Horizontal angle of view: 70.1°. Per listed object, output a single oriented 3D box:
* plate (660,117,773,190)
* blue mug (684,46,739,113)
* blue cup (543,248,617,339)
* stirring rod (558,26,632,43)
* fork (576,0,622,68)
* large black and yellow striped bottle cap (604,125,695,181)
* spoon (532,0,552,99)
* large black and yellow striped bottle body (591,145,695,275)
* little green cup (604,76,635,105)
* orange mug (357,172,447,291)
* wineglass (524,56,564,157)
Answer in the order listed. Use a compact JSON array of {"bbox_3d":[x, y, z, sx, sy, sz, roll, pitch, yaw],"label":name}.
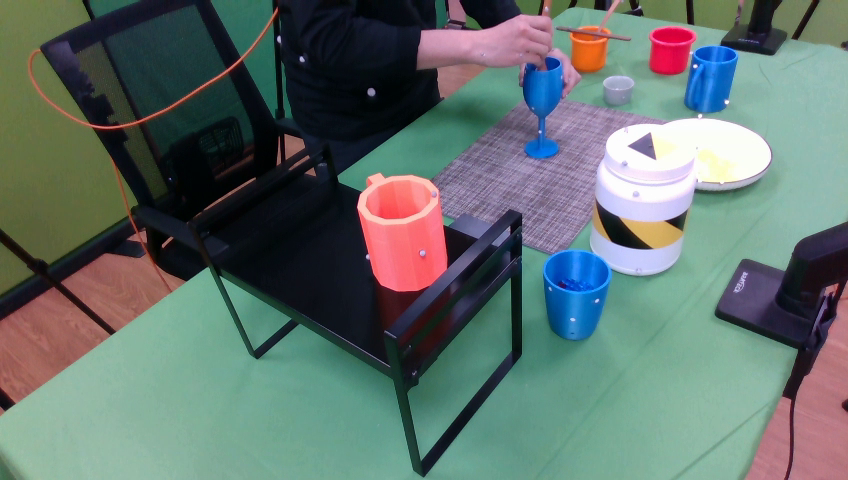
[{"bbox_3d":[0.495,-0.149,1.063,0.209,0.038,0.208,-5,40,5],"label":"plate"},{"bbox_3d":[0.556,-0.310,1.190,0.117,0.106,0.081,-32,46,-25],"label":"blue mug"},{"bbox_3d":[0.199,0.076,0.797,0.092,0.100,0.092,-4,39,4],"label":"blue cup"},{"bbox_3d":[0.381,-0.462,1.356,0.175,0.006,0.014,22,49,29],"label":"stirring rod"},{"bbox_3d":[0.409,-0.484,1.381,0.028,0.019,0.207,37,101,46],"label":"fork"},{"bbox_3d":[0.304,-0.120,0.817,0.115,0.019,0.114,-3,41,3],"label":"large black and yellow striped bottle cap"},{"bbox_3d":[0.204,-0.329,1.035,0.042,0.194,0.021,-27,45,-23],"label":"spoon"},{"bbox_3d":[0.313,-0.056,0.870,0.131,0.185,0.130,-4,40,4],"label":"large black and yellow striped bottle body"},{"bbox_3d":[0.408,-0.311,1.266,0.061,0.039,0.061,-4,40,4],"label":"little green cup"},{"bbox_3d":[-0.030,-0.018,0.669,0.084,0.101,0.125,-23,47,-16],"label":"orange mug"},{"bbox_3d":[0.218,-0.241,1.103,0.074,0.173,0.073,-5,41,4],"label":"wineglass"}]
